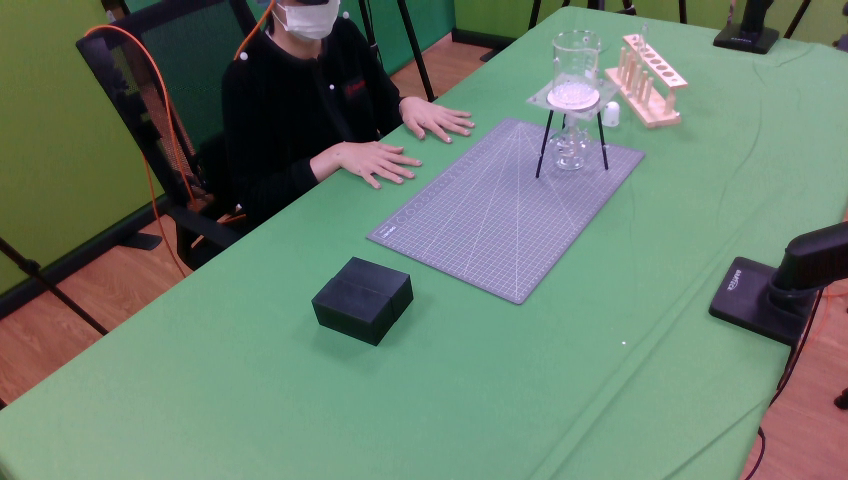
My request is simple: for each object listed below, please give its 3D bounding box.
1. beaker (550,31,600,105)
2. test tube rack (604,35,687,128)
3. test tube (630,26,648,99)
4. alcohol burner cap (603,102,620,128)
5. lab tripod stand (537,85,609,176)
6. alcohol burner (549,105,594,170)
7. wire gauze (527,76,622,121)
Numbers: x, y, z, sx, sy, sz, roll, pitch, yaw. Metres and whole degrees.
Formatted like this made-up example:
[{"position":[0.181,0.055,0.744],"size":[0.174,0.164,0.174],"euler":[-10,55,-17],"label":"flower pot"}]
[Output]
[{"position":[0.250,-0.281,0.996],"size":[0.074,0.101,0.083],"euler":[-37,49,-27],"label":"beaker"},{"position":[0.447,-0.330,1.241],"size":[0.067,0.085,0.241],"euler":[-9,41,-2],"label":"test tube rack"},{"position":[0.426,-0.350,1.199],"size":[0.017,0.151,0.017],"euler":[-4,42,4],"label":"test tube"},{"position":[0.371,-0.249,1.193],"size":[0.034,0.048,0.033],"euler":[-5,41,5],"label":"alcohol burner cap"},{"position":[0.259,-0.192,1.068],"size":[0.148,0.132,0.147],"euler":[-4,43,4],"label":"lab tripod stand"},{"position":[0.262,-0.186,1.076],"size":[0.078,0.119,0.077],"euler":[-6,41,6],"label":"alcohol burner"},{"position":[0.255,-0.247,1.030],"size":[0.124,0.011,0.122],"euler":[23,49,34],"label":"wire gauze"}]
